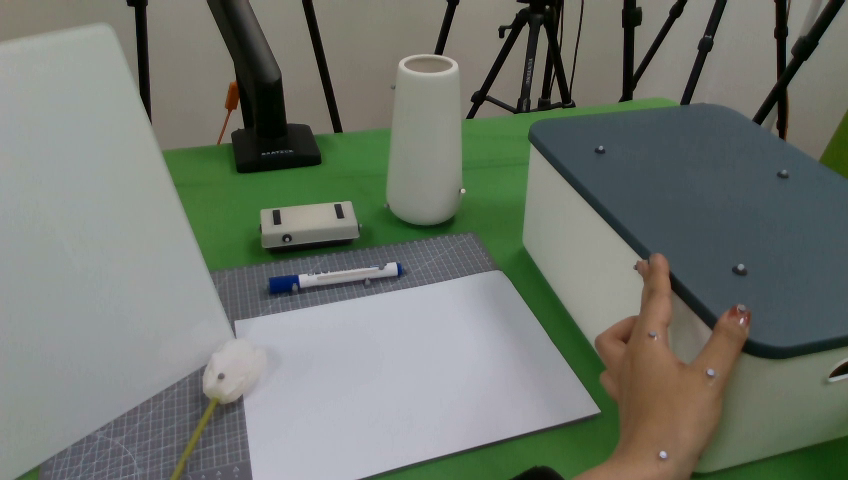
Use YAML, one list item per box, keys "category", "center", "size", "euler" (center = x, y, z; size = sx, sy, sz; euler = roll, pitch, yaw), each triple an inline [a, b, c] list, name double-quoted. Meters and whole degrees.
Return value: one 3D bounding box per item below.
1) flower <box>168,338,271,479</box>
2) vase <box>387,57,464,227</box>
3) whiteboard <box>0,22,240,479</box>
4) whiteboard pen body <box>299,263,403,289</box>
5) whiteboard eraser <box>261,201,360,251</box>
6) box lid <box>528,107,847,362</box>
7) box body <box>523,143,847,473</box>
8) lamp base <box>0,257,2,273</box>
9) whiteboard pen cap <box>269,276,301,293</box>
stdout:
- category: "flower"
  center: [-0.201, 0.209, 0.429]
  size: [0.044, 0.038, 0.359]
  euler: [14, 41, 6]
- category: "vase"
  center: [0.005, -0.115, 0.740]
  size: [0.098, 0.201, 0.097]
  euler: [3, 35, -2]
- category: "whiteboard"
  center: [-0.327, 0.002, 0.509]
  size: [0.142, 0.307, 0.217]
  euler: [11, 32, 45]
- category: "whiteboard pen body"
  center: [-0.092, 0.041, 0.667]
  size: [0.141, 0.017, 0.017]
  euler: [-7, 37, -13]
- category: "whiteboard eraser"
  center: [-0.136, -0.015, 0.726]
  size: [0.113, 0.042, 0.055]
  euler: [-8, 35, -13]
- category: "box lid"
  center: [0.280, -0.037, 0.553]
  size: [0.264, 0.015, 0.367]
  euler: [-8, 36, -14]
- category: "box body"
  center: [0.278, 0.023, 0.599]
  size: [0.255, 0.162, 0.360]
  euler: [-8, 37, -14]
- category: "lamp base"
  center: [-0.538, -0.020, 0.583]
  size: [0.178, 0.182, 0.160]
  euler: [14, 37, 20]
- category: "whiteboard pen cap"
  center: [-0.149, 0.048, 0.653]
  size: [0.033, 0.018, 0.018]
  euler: [-4, 36, -14]
